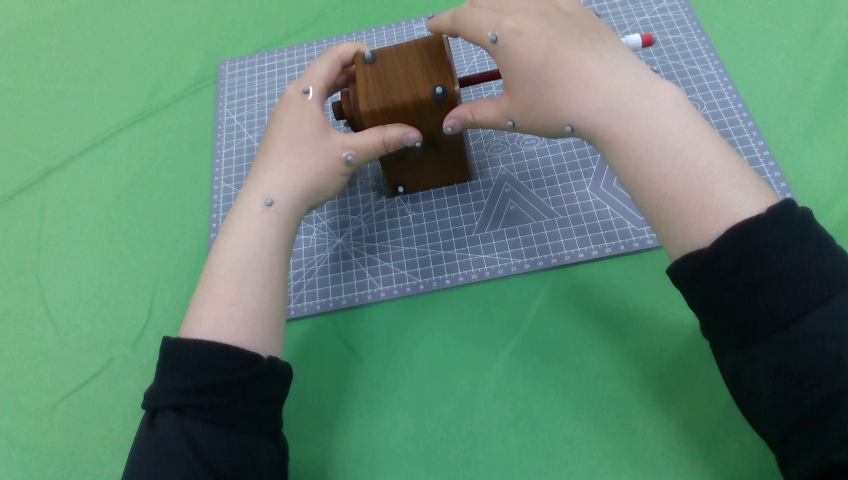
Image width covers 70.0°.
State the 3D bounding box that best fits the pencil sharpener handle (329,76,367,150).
[{"bbox_3d":[-0.062,-0.091,0.455,0.030,0.068,0.035,-14,64,3],"label":"pencil sharpener handle"}]

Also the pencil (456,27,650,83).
[{"bbox_3d":[0.064,-0.125,0.432,0.194,0.012,0.012,-12,60,4],"label":"pencil"}]

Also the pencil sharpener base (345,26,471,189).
[{"bbox_3d":[-0.010,-0.096,0.463,0.076,0.108,0.061,-14,59,3],"label":"pencil sharpener base"}]
